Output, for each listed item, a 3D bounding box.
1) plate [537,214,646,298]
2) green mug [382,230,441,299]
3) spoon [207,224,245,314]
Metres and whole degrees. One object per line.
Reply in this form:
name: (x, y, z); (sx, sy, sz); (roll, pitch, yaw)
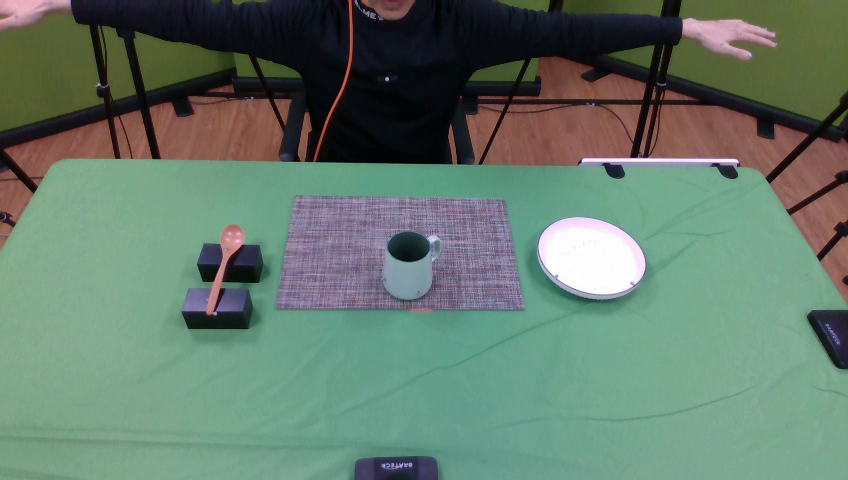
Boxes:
plate: (0.321, 0.035, 1.176); (0.209, 0.038, 0.208); (2, 47, -2)
green mug: (-0.017, 0.037, 1.097); (0.125, 0.105, 0.092); (-34, 57, -31)
spoon: (-0.350, 0.047, 1.055); (0.042, 0.022, 0.192); (15, 45, -14)
